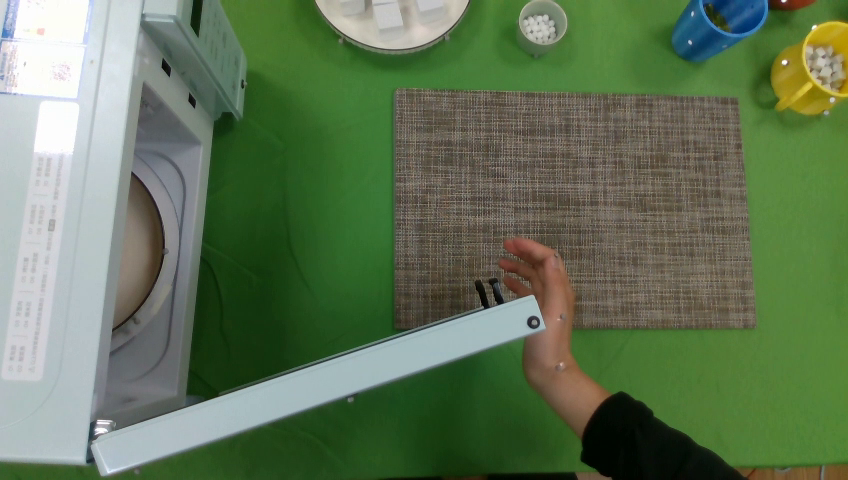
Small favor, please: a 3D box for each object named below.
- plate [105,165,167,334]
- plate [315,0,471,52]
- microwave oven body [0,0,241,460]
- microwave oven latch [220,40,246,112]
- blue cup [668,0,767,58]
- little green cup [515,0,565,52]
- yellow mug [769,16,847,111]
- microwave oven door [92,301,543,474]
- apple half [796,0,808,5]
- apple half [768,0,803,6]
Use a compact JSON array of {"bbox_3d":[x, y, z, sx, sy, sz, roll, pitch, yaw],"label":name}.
[{"bbox_3d":[-0.372,0.006,0.629,0.209,0.038,0.208,1,83,-5],"label":"plate"},{"bbox_3d":[-0.040,-0.332,0.766,0.208,0.039,0.207,1,82,-4],"label":"plate"},{"bbox_3d":[-0.378,-0.042,0.585,0.326,0.260,0.440,3,82,-4],"label":"microwave oven body"},{"bbox_3d":[-0.228,-0.194,0.714,0.030,0.029,0.079,6,82,-4],"label":"microwave oven latch"},{"bbox_3d":[0.356,-0.276,0.756,0.093,0.100,0.092,1,83,-5],"label":"blue cup"},{"bbox_3d":[0.145,-0.272,0.772,0.061,0.039,0.061,1,81,-4],"label":"little green cup"},{"bbox_3d":[0.499,-0.215,0.776,0.131,0.064,0.100,-42,87,-7],"label":"yellow mug"},{"bbox_3d":[-0.082,0.126,0.579,0.356,0.244,0.039,-17,82,-6],"label":"microwave oven door"},{"bbox_3d":[0.509,-0.346,0.790,0.033,0.081,0.081,6,81,0],"label":"apple half"},{"bbox_3d":[0.470,-0.350,0.789,0.053,0.075,0.080,6,85,0],"label":"apple half"}]
